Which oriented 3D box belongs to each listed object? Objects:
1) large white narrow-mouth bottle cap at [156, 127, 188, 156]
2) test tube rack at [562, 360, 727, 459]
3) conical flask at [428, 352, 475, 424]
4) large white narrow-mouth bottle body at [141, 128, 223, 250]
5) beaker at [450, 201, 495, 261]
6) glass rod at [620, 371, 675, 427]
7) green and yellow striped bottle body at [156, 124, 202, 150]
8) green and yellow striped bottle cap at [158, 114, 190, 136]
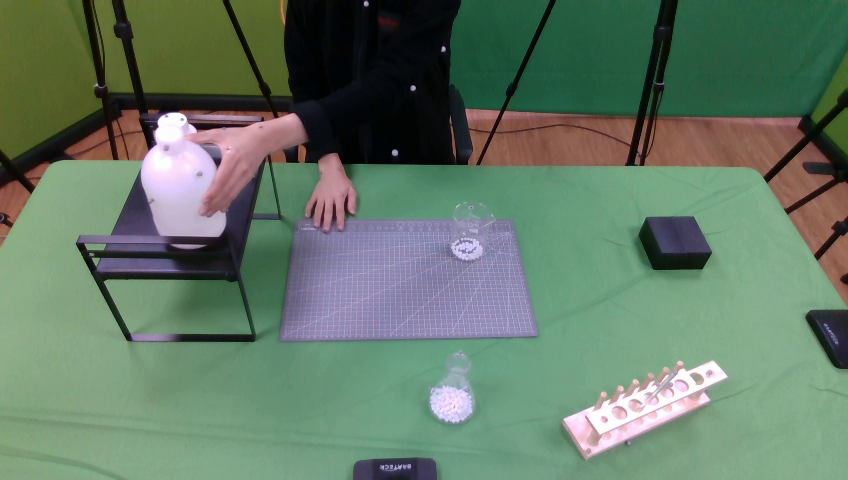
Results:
[{"bbox_3d":[-0.334,-0.131,0.803,0.038,0.024,0.037,6,51,-7],"label":"large white narrow-mouth bottle cap"},{"bbox_3d":[0.341,0.247,0.940,0.243,0.085,0.066,-16,49,-18],"label":"test tube rack"},{"bbox_3d":[0.046,0.220,0.920,0.075,0.122,0.075,2,46,-2],"label":"conical flask"},{"bbox_3d":[-0.349,-0.078,0.870,0.102,0.195,0.101,6,51,-7],"label":"large white narrow-mouth bottle body"},{"bbox_3d":[0.089,-0.014,1.160,0.084,0.101,0.073,9,47,4],"label":"beaker"},{"bbox_3d":[0.316,0.230,0.863,0.008,0.200,0.008,3,53,-3],"label":"glass rod"},{"bbox_3d":[-0.395,-0.145,0.989,0.063,0.120,0.063,2,46,-2],"label":"green and yellow striped bottle body"},{"bbox_3d":[-0.393,-0.179,0.951,0.045,0.020,0.045,2,44,-2],"label":"green and yellow striped bottle cap"}]
